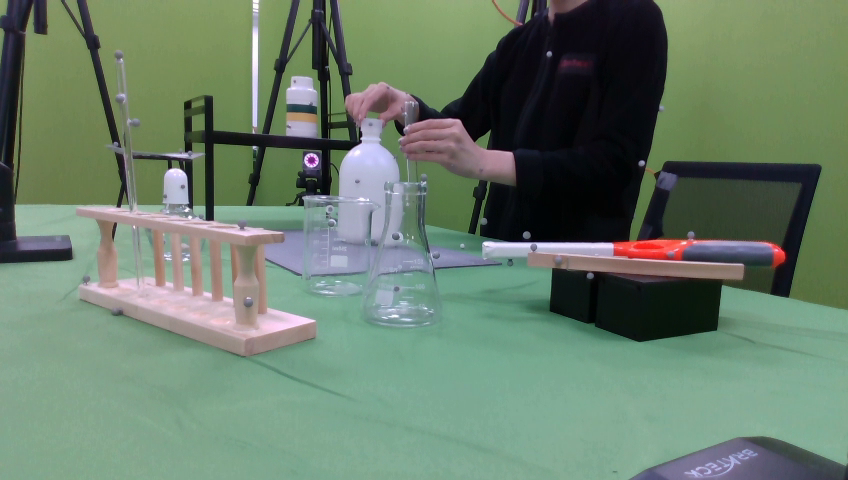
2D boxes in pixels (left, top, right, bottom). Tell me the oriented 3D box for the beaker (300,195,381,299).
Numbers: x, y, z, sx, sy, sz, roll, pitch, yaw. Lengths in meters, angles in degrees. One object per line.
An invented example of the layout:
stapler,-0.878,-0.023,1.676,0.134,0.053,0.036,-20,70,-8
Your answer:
beaker,-0.087,0.006,0.626,0.084,0.100,0.074,1,8,-17

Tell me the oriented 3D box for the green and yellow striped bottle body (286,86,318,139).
green and yellow striped bottle body,-0.251,-0.270,1.245,0.063,0.119,0.063,2,7,0

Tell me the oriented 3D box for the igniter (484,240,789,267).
igniter,0.197,0.012,0.585,0.276,0.025,0.057,1,5,11

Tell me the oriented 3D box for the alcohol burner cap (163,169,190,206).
alcohol burner cap,-0.320,-0.067,0.782,0.034,0.048,0.034,1,7,0

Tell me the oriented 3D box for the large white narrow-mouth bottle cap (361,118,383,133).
large white narrow-mouth bottle cap,-0.084,-0.188,0.993,0.038,0.024,0.037,3,7,0

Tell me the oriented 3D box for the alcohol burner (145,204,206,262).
alcohol burner,-0.321,-0.032,0.788,0.078,0.119,0.078,0,7,0

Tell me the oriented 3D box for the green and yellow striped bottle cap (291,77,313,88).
green and yellow striped bottle cap,-0.250,-0.321,1.238,0.045,0.020,0.045,3,6,0

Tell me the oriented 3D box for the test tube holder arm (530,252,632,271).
test tube holder arm,0.139,0.019,0.538,0.087,0.015,0.010,3,6,13

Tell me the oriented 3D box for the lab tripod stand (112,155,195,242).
lab tripod stand,-0.405,-0.064,0.931,0.148,0.131,0.148,1,7,0

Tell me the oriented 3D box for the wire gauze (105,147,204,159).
wire gauze,-0.407,-0.131,0.928,0.125,0.011,0.121,2,6,-11

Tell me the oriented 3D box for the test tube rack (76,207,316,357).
test tube rack,-0.196,0.023,0.500,0.241,0.085,0.067,8,9,36

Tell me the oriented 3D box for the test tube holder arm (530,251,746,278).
test tube holder arm,0.182,0.022,0.523,0.178,0.015,0.013,3,6,12

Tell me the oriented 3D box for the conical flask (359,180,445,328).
conical flask,-0.017,0.010,0.522,0.075,0.122,0.075,2,7,0

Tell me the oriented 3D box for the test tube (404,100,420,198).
test tube,-0.018,-0.140,0.931,0.017,0.150,0.017,-3,7,1

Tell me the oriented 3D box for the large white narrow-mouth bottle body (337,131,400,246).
large white narrow-mouth bottle body,-0.091,-0.092,1.006,0.102,0.194,0.102,3,7,0

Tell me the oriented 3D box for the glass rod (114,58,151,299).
glass rod,-0.236,-0.044,0.492,0.008,0.199,0.008,0,15,0
